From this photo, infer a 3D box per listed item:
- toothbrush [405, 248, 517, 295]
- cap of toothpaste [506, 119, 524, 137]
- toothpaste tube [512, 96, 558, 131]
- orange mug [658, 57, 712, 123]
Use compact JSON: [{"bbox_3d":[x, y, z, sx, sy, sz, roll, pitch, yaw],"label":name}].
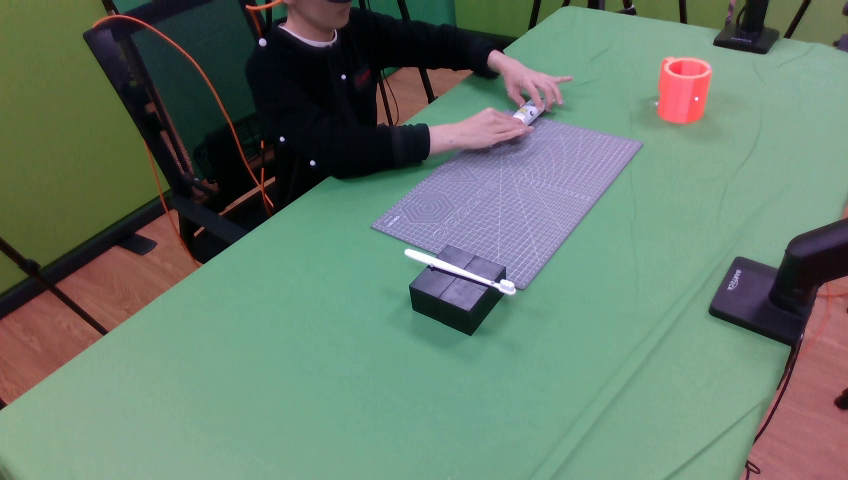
[{"bbox_3d":[0.048,0.041,0.850,0.180,0.017,0.014,19,52,28],"label":"toothbrush"},{"bbox_3d":[0.179,-0.221,1.184,0.037,0.037,0.011,17,42,26],"label":"cap of toothpaste"},{"bbox_3d":[0.221,-0.263,1.236,0.054,0.034,0.165,14,41,27],"label":"toothpaste tube"},{"bbox_3d":[0.504,-0.304,1.193,0.083,0.101,0.125,-13,45,-5],"label":"orange mug"}]
